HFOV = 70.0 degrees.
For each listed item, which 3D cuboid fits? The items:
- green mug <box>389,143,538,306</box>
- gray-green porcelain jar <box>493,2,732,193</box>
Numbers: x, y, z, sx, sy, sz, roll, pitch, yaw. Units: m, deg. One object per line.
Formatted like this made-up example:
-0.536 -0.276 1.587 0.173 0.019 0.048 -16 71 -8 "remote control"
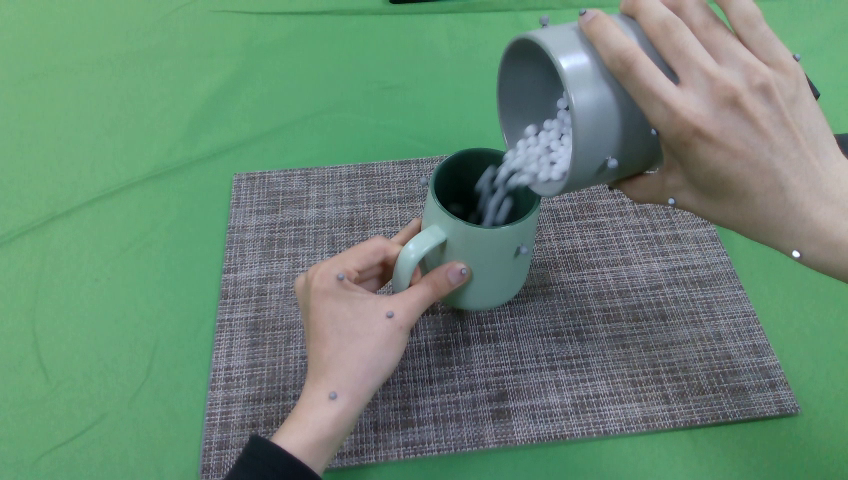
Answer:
0.026 -0.001 0.456 0.125 0.106 0.092 -34 62 -26 "green mug"
0.125 -0.097 0.403 0.127 0.107 0.104 -16 55 -14 "gray-green porcelain jar"
